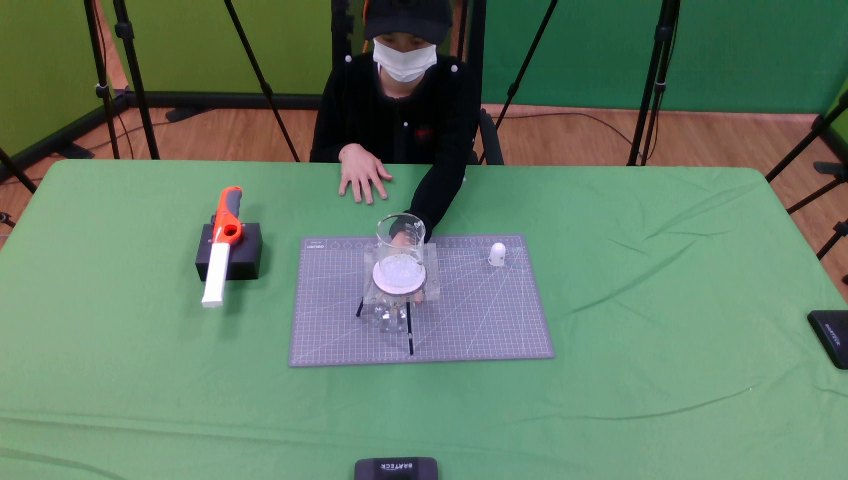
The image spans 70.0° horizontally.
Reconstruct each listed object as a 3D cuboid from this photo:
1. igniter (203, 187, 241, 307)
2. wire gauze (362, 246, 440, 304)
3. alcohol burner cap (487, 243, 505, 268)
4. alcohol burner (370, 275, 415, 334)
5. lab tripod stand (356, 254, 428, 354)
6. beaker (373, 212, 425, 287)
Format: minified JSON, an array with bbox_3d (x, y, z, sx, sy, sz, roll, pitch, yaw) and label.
[{"bbox_3d":[-0.365,0.003,1.098,0.057,0.025,0.274,-1,49,-7],"label":"igniter"},{"bbox_3d":[-0.038,0.052,0.972,0.121,0.011,0.124,0,44,-5],"label":"wire gauze"},{"bbox_3d":[0.141,0.027,1.166,0.034,0.048,0.033,2,45,-2],"label":"alcohol burner cap"},{"bbox_3d":[-0.054,0.103,1.026,0.078,0.120,0.077,1,44,-1],"label":"alcohol burner"},{"bbox_3d":[-0.046,0.100,1.017,0.148,0.132,0.147,1,47,-1],"label":"lab tripod stand"},{"bbox_3d":[-0.036,0.019,0.936,0.074,0.101,0.083,-29,54,-26],"label":"beaker"}]
